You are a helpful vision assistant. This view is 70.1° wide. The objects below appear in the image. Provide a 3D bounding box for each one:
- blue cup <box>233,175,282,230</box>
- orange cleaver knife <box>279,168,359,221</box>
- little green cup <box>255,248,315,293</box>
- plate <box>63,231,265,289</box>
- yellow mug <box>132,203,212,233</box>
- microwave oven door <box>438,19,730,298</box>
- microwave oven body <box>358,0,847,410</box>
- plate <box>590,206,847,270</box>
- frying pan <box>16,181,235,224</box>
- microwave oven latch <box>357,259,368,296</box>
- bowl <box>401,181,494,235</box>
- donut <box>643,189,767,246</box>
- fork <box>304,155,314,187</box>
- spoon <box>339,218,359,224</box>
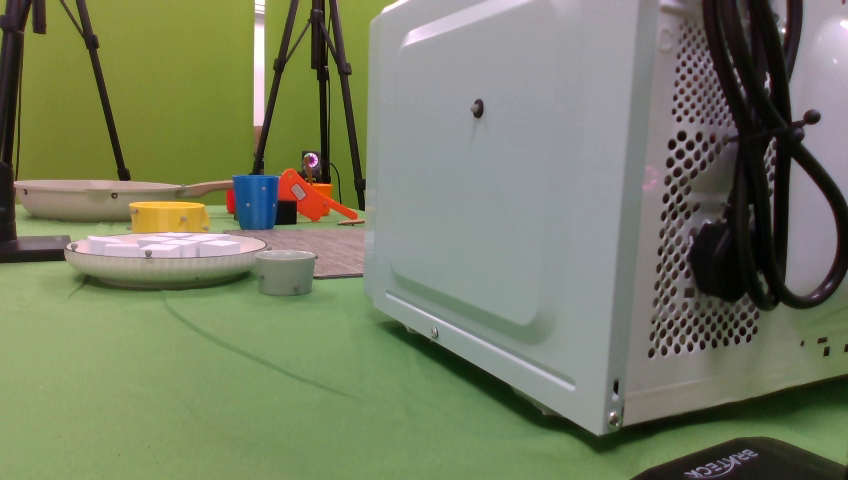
[{"bbox_3d":[-0.314,-0.071,1.141,0.093,0.100,0.092,0,7,0],"label":"blue cup"},{"bbox_3d":[-0.236,-0.084,1.333,0.212,0.077,0.012,31,-9,-31],"label":"orange cleaver knife"},{"bbox_3d":[-0.144,0.031,0.627,0.061,0.038,0.061,2,7,0],"label":"little green cup"},{"bbox_3d":[-0.288,0.021,0.687,0.208,0.039,0.207,2,8,0],"label":"plate"},{"bbox_3d":[-0.356,-0.020,0.878,0.099,0.064,0.131,4,7,22],"label":"yellow mug"},{"bbox_3d":[0.181,-0.076,0.618,0.358,0.243,0.039,-2,8,-28],"label":"microwave oven door"},{"bbox_3d":[0.210,-0.051,0.471,0.444,0.260,0.324,-1,7,-28],"label":"microwave oven body"},{"bbox_3d":[0.246,-0.003,0.510,0.209,0.038,0.209,3,5,0],"label":"plate"},{"bbox_3d":[-0.553,-0.097,1.265,0.490,0.102,0.305,-10,13,-24],"label":"frying pan"},{"bbox_3d":[-0.019,0.031,0.528,0.079,0.029,0.030,-1,7,-25],"label":"microwave oven latch"},{"bbox_3d":[0.038,-0.051,0.985,0.151,0.077,0.151,-1,10,0],"label":"bowl"},{"bbox_3d":[0.239,-0.018,0.519,0.099,0.048,0.099,4,4,0],"label":"donut"},{"bbox_3d":[-0.268,-0.134,1.446,0.028,0.018,0.207,2,-36,-1],"label":"fork"},{"bbox_3d":[-0.087,-0.041,1.268,0.193,0.021,0.041,4,20,13],"label":"spoon"}]
